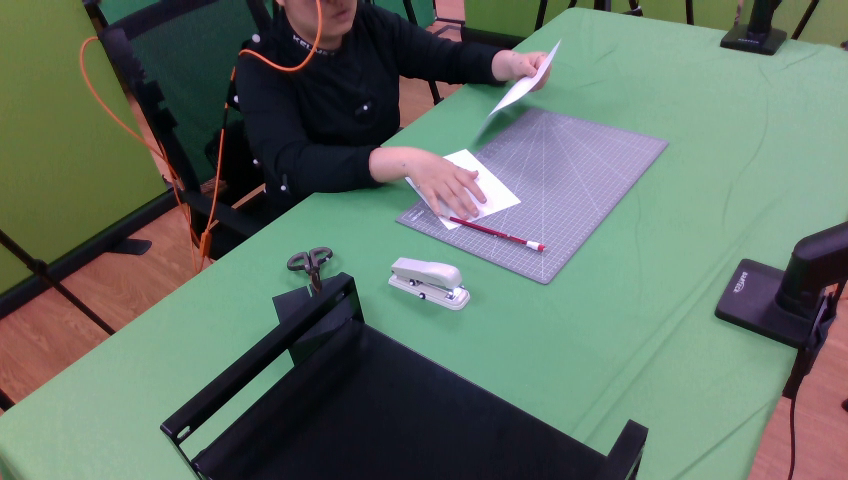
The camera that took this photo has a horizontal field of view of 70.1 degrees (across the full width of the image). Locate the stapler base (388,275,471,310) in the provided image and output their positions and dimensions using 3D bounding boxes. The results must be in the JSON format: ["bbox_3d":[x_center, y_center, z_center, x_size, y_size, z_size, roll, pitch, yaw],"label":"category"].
[{"bbox_3d":[0.007,0.066,0.897,0.129,0.024,0.041,17,43,29],"label":"stapler base"}]

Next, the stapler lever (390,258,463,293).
[{"bbox_3d":[0.003,0.046,0.881,0.117,0.040,0.027,17,44,29],"label":"stapler lever"}]

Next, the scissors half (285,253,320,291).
[{"bbox_3d":[-0.178,0.049,0.909,0.040,0.013,0.174,-17,20,-20],"label":"scissors half"}]

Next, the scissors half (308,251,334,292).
[{"bbox_3d":[-0.159,0.046,0.913,0.040,0.013,0.174,-6,18,-4],"label":"scissors half"}]

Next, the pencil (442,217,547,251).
[{"bbox_3d":[0.110,-0.012,0.980,0.192,0.012,0.012,18,46,30],"label":"pencil"}]
